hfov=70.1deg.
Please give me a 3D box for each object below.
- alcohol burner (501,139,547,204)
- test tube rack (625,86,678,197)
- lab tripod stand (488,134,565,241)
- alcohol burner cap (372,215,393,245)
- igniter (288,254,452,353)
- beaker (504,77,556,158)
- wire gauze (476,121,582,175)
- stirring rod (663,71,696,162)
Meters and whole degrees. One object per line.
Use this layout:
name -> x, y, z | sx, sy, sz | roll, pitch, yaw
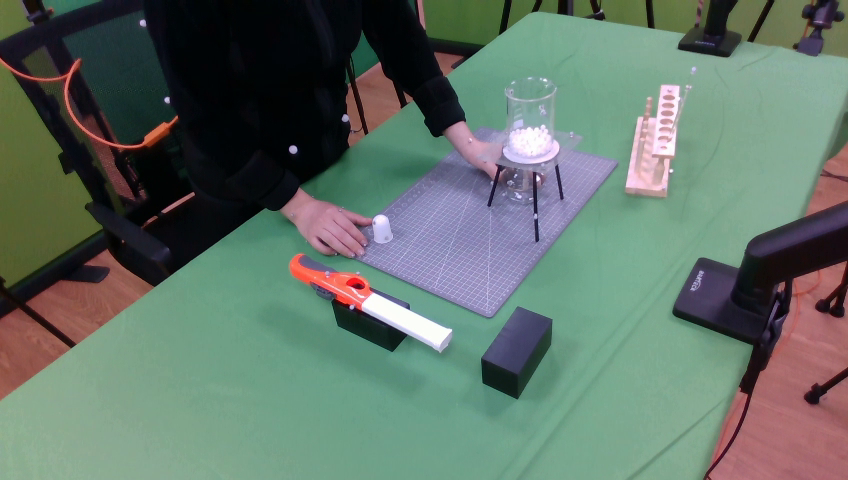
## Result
alcohol burner -> 0.168, -0.121, 1.021 | 0.078, 0.119, 0.077 | -5, 42, 5
test tube rack -> 0.412, -0.184, 1.088 | 0.066, 0.085, 0.242 | 9, 43, 18
lab tripod stand -> 0.168, -0.092, 0.972 | 0.148, 0.132, 0.147 | -5, 41, 5
alcohol burner cap -> -0.070, -0.019, 0.990 | 0.034, 0.048, 0.033 | -4, 41, 4
igniter -> -0.083, 0.080, 0.818 | 0.274, 0.025, 0.057 | 23, 46, 27
beaker -> 0.160, -0.181, 0.900 | 0.084, 0.101, 0.073 | -32, 46, -27
wire gauze -> 0.162, -0.141, 0.929 | 0.120, 0.011, 0.125 | 19, 49, 32
stirring rod -> 0.411, -0.195, 0.981 | 0.014, 0.177, 0.006 | 13, 50, 15
